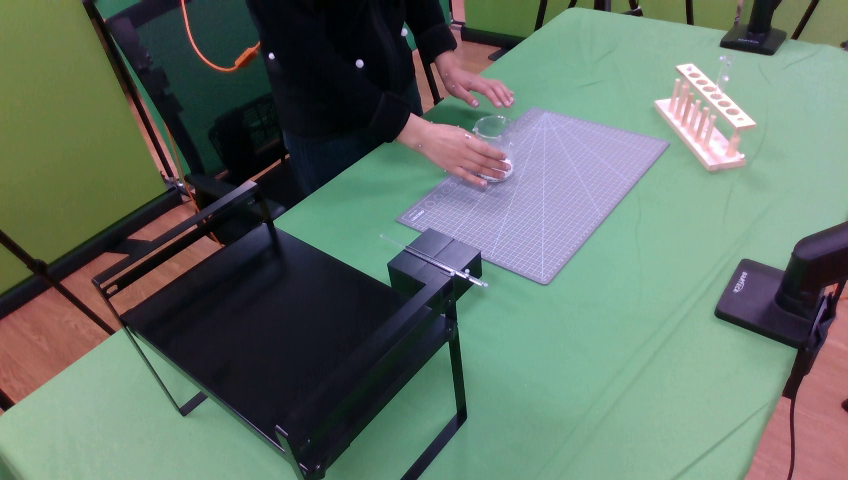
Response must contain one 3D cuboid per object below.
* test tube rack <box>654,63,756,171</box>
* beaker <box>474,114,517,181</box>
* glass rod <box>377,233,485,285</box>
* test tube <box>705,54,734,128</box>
[{"bbox_3d":[0.510,-0.233,1.120,0.067,0.085,0.241,-8,41,-1],"label":"test tube rack"},{"bbox_3d":[0.130,-0.165,1.081,0.073,0.100,0.084,18,47,23],"label":"beaker"},{"bbox_3d":[0.005,0.025,0.877,0.198,0.008,0.008,24,50,31],"label":"glass rod"},{"bbox_3d":[0.523,-0.260,1.073,0.017,0.151,0.017,-4,46,5],"label":"test tube"}]
